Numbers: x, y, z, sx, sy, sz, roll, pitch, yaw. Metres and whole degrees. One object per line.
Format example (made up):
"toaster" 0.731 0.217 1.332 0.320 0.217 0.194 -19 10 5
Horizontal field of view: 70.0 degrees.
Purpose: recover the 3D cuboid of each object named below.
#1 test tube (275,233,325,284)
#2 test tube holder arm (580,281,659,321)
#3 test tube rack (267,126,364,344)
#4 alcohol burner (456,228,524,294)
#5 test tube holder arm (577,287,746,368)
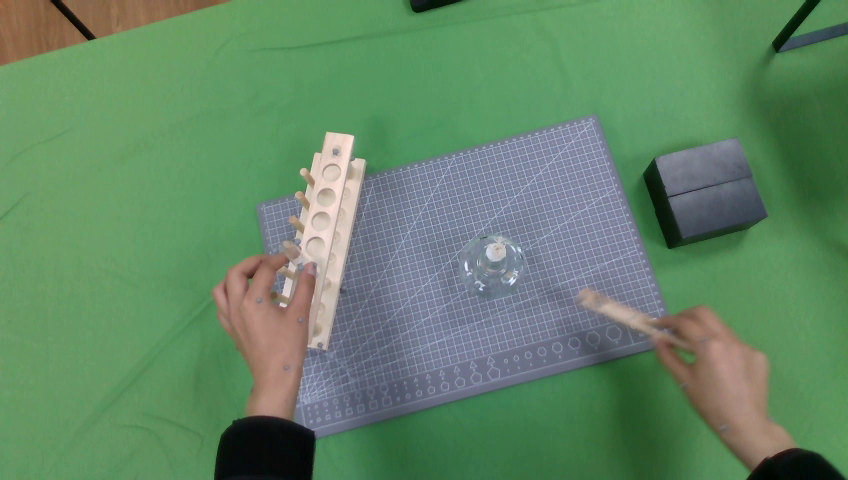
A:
"test tube" -0.130 0.023 0.652 0.017 0.151 0.017 -1 72 4
"test tube holder arm" 0.212 0.069 0.661 0.087 0.015 0.010 26 70 24
"test tube rack" -0.133 -0.006 0.711 0.066 0.085 0.241 9 77 7
"alcohol burner" 0.074 0.019 0.678 0.078 0.120 0.077 -1 74 2
"test tube holder arm" 0.246 0.091 0.640 0.177 0.015 0.013 26 70 24
